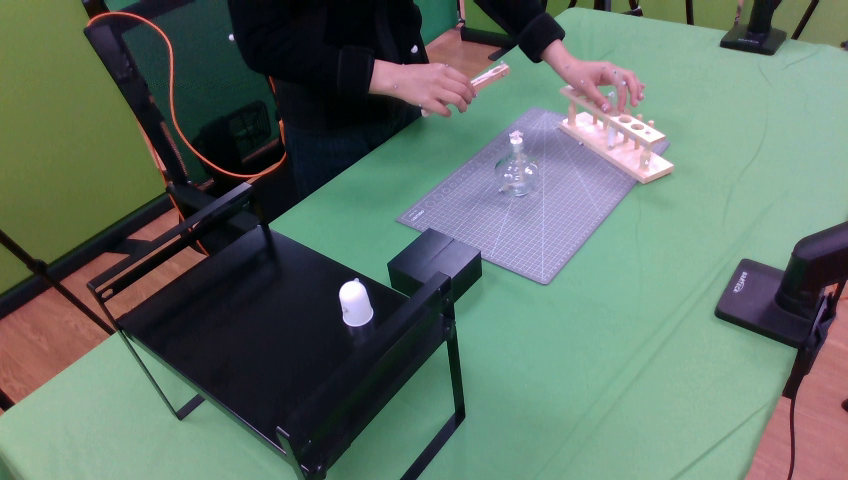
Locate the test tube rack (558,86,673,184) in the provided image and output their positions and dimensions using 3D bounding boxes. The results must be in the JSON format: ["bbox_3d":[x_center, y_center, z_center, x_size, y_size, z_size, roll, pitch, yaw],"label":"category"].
[{"bbox_3d":[0.347,-0.203,1.109,0.067,0.085,0.240,-22,42,-17],"label":"test tube rack"}]

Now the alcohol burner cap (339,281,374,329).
[{"bbox_3d":[-0.071,0.063,0.617,0.034,0.048,0.033,-4,39,4],"label":"alcohol burner cap"}]

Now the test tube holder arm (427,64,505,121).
[{"bbox_3d":[0.074,-0.253,1.036,0.179,0.015,0.013,-36,60,-19],"label":"test tube holder arm"}]

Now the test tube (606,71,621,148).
[{"bbox_3d":[0.332,-0.225,1.060,0.017,0.151,0.017,-5,43,5],"label":"test tube"}]

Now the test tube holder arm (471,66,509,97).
[{"bbox_3d":[0.113,-0.275,1.049,0.088,0.015,0.010,-34,60,-18],"label":"test tube holder arm"}]

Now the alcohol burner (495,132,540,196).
[{"bbox_3d":[0.160,-0.135,1.035,0.078,0.119,0.077,-5,42,5],"label":"alcohol burner"}]
